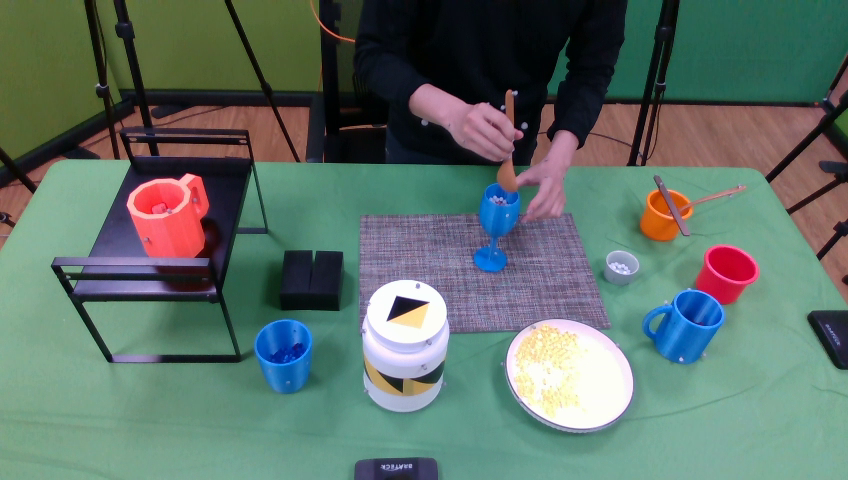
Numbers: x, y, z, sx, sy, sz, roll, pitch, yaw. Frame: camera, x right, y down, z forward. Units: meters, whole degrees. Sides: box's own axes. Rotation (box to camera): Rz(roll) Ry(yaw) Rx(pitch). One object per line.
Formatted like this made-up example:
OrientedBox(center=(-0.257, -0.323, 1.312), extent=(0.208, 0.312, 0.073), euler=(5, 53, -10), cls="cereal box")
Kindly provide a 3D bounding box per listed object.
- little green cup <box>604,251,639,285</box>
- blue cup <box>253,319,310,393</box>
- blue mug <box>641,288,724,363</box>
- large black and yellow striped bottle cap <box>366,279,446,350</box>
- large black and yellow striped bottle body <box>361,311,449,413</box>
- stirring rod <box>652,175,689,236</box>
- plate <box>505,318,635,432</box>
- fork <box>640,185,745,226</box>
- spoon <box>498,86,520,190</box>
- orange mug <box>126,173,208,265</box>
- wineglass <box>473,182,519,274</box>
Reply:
OrientedBox(center=(0.375, 0.055, 1.161), extent=(0.061, 0.039, 0.061), euler=(3, 46, -2), cls="little green cup")
OrientedBox(center=(-0.217, 0.187, 0.943), extent=(0.093, 0.101, 0.092), euler=(4, 45, -3), cls="blue cup")
OrientedBox(center=(0.432, 0.144, 1.033), extent=(0.116, 0.106, 0.082), euler=(8, 46, 5), cls="blue mug")
OrientedBox(center=(-0.025, 0.104, 0.864), extent=(0.115, 0.019, 0.114), euler=(3, 48, -3), cls="large black and yellow striped bottle cap")
OrientedBox(center=(-0.031, 0.163, 0.924), extent=(0.131, 0.185, 0.130), euler=(2, 46, -2), cls="large black and yellow striped bottle body")
OrientedBox(center=(0.491, -0.072, 1.211), extent=(0.014, 0.006, 0.175), euler=(-1, 47, -6), cls="stirring rod")
OrientedBox(center=(0.235, 0.221, 0.991), extent=(0.209, 0.038, 0.208), euler=(2, 45, -2), cls="plate")
OrientedBox(center=(0.534, -0.069, 1.215), extent=(0.207, 0.019, 0.028), euler=(-26, 27, 33), cls="fork")
OrientedBox(center=(0.137, -0.157, 0.962), extent=(0.041, 0.195, 0.021), euler=(26, 48, 32), cls="spoon")
OrientedBox(center=(-0.371, -0.039, 0.902), extent=(0.083, 0.101, 0.126), euler=(18, 52, 14), cls="orange mug")
OrientedBox(center=(0.131, -0.022, 1.117), extent=(0.074, 0.173, 0.073), euler=(2, 46, -2), cls="wineglass")
